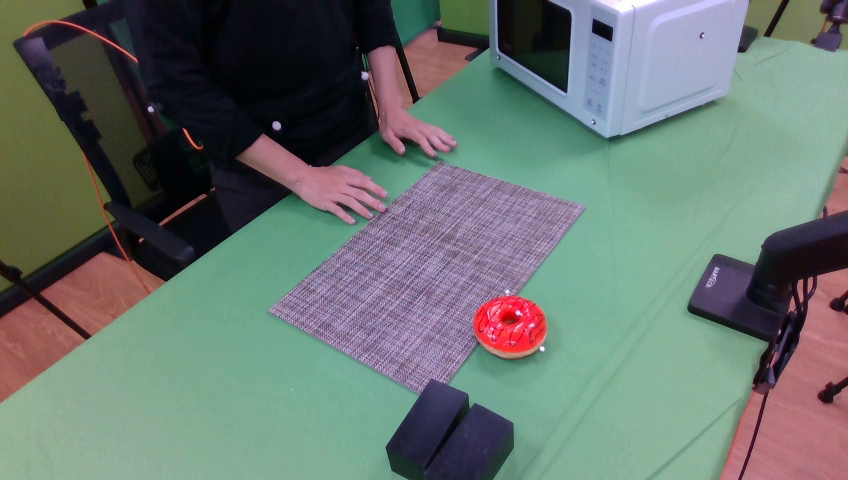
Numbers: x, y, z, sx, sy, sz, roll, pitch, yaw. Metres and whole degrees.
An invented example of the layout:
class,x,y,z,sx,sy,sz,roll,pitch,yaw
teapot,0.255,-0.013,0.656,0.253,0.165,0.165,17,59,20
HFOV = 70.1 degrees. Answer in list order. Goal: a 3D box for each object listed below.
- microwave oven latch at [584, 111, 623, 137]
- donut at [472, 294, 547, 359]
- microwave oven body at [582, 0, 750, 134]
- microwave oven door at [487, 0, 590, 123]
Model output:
class,x,y,z,sx,sy,sz,roll,pitch,yaw
microwave oven latch,0.337,-0.222,1.142,0.030,0.029,0.078,-21,42,-14
donut,0.114,0.114,0.803,0.099,0.048,0.098,0,40,1
microwave oven body,0.382,-0.445,1.246,0.327,0.261,0.437,-22,42,-16
microwave oven door,0.232,-0.420,1.231,0.039,0.245,0.352,-22,43,-16
